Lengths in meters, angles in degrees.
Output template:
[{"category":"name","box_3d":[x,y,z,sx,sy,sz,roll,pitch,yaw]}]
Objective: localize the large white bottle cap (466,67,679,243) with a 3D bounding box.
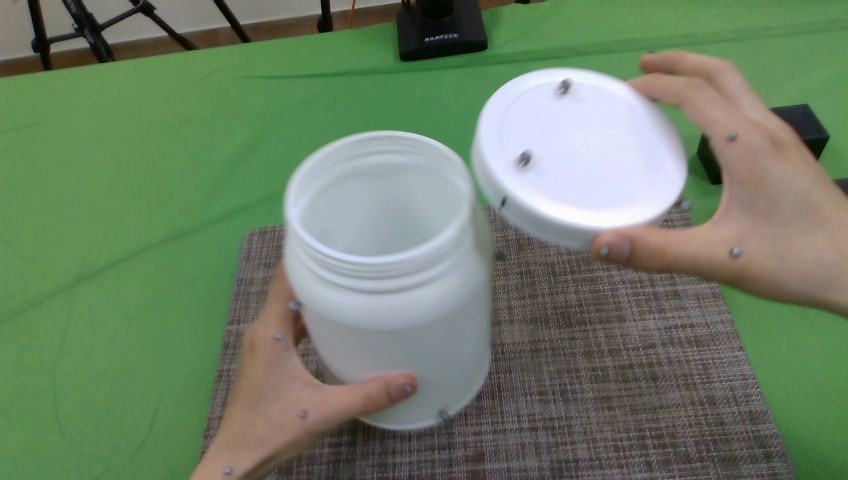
[{"category":"large white bottle cap","box_3d":[0.081,-0.050,0.329,0.115,0.018,0.114,4,57,-6]}]

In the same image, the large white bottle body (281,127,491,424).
[{"category":"large white bottle body","box_3d":[-0.021,0.029,0.412,0.130,0.186,0.129,-2,49,2]}]
